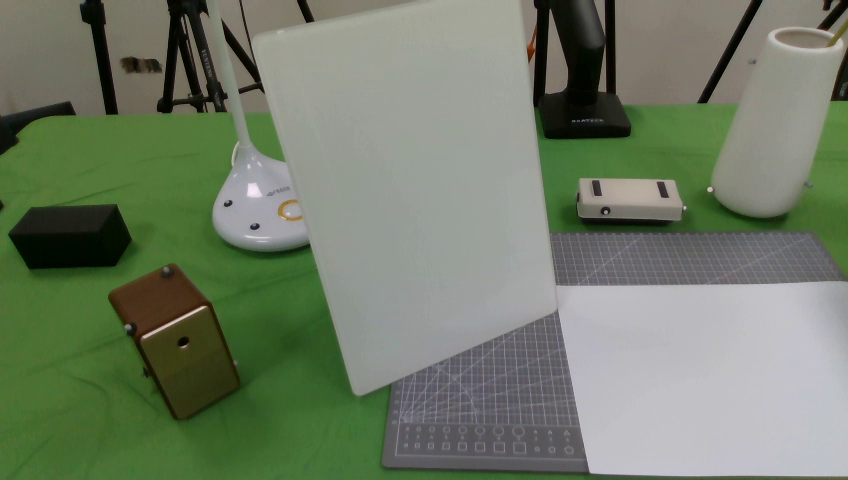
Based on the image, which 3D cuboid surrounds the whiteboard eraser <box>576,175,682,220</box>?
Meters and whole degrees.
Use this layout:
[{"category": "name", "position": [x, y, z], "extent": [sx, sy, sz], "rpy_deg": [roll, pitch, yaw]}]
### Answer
[{"category": "whiteboard eraser", "position": [0.235, -0.049, 0.701], "extent": [0.112, 0.042, 0.055], "rpy_deg": [1, 37, 6]}]

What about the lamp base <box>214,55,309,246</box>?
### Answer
[{"category": "lamp base", "position": [-0.185, -0.110, 0.694], "extent": [0.177, 0.182, 0.160], "rpy_deg": [29, 49, 36]}]

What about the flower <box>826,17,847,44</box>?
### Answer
[{"category": "flower", "position": [0.391, -0.181, 0.597], "extent": [0.044, 0.364, 0.038], "rpy_deg": [-15, 57, -24]}]

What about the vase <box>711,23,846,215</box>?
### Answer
[{"category": "vase", "position": [0.386, -0.126, 0.661], "extent": [0.098, 0.202, 0.097], "rpy_deg": [-1, 39, 1]}]

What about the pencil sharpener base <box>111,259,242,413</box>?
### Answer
[{"category": "pencil sharpener base", "position": [-0.210, 0.081, 0.518], "extent": [0.061, 0.108, 0.076], "rpy_deg": [-30, 46, -28]}]

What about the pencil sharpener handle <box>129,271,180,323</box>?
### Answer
[{"category": "pencil sharpener handle", "position": [-0.242, 0.047, 0.542], "extent": [0.036, 0.068, 0.030], "rpy_deg": [-37, 49, -22]}]

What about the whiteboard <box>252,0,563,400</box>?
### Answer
[{"category": "whiteboard", "position": [-0.017, -0.053, 0.558], "extent": [0.217, 0.307, 0.142], "rpy_deg": [-19, 22, -18]}]
